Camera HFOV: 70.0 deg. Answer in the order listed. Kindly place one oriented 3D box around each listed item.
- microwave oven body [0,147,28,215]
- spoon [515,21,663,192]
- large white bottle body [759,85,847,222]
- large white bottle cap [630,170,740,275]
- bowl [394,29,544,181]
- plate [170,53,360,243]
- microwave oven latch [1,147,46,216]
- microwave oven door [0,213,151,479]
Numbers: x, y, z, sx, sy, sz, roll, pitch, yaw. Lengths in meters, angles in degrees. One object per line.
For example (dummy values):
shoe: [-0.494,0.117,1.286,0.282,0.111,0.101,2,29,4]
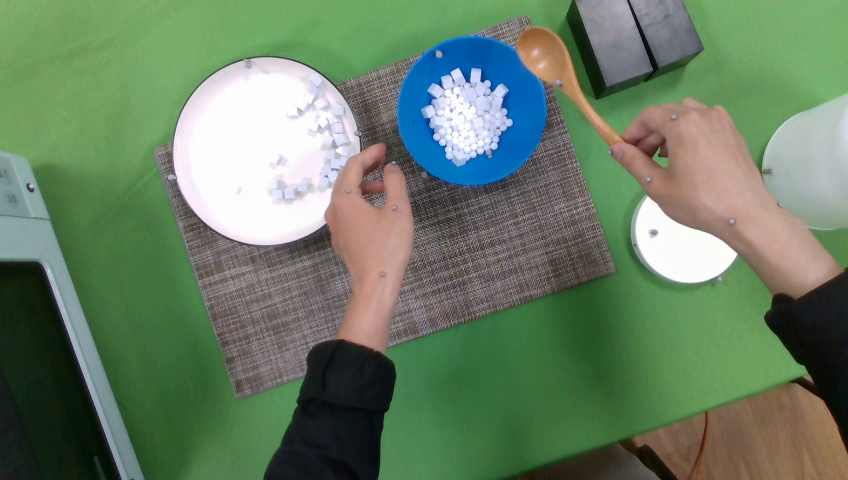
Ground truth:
microwave oven body: [-0.532,0.155,0.578,0.326,0.260,0.441,-21,89,2]
spoon: [0.141,-0.115,0.525,0.021,0.042,0.192,-26,75,-23]
large white bottle body: [0.421,-0.086,0.569,0.130,0.185,0.130,0,89,3]
large white bottle cap: [0.284,-0.019,0.659,0.115,0.018,0.114,0,90,2]
bowl: [0.047,-0.133,0.639,0.151,0.077,0.151,0,90,4]
plate: [-0.171,-0.099,0.670,0.209,0.038,0.209,0,89,3]
microwave oven latch: [-0.452,-0.061,0.671,0.030,0.029,0.079,-22,89,2]
microwave oven door: [-0.381,0.141,0.565,0.039,0.244,0.355,-22,88,3]
